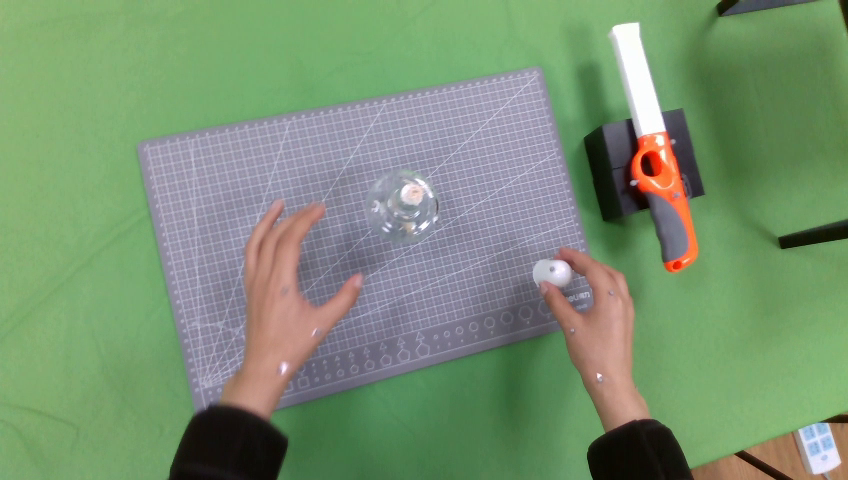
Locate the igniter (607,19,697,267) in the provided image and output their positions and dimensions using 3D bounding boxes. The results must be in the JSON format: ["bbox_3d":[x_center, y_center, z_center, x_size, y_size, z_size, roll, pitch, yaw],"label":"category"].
[{"bbox_3d":[0.247,-0.107,0.656,0.057,0.025,0.275,-11,83,-9],"label":"igniter"}]

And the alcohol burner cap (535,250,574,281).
[{"bbox_3d":[0.138,0.028,0.627,0.034,0.048,0.034,0,92,-7],"label":"alcohol burner cap"}]

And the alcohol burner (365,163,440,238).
[{"bbox_3d":[-0.019,-0.042,0.607,0.078,0.119,0.077,1,84,-11],"label":"alcohol burner"}]
